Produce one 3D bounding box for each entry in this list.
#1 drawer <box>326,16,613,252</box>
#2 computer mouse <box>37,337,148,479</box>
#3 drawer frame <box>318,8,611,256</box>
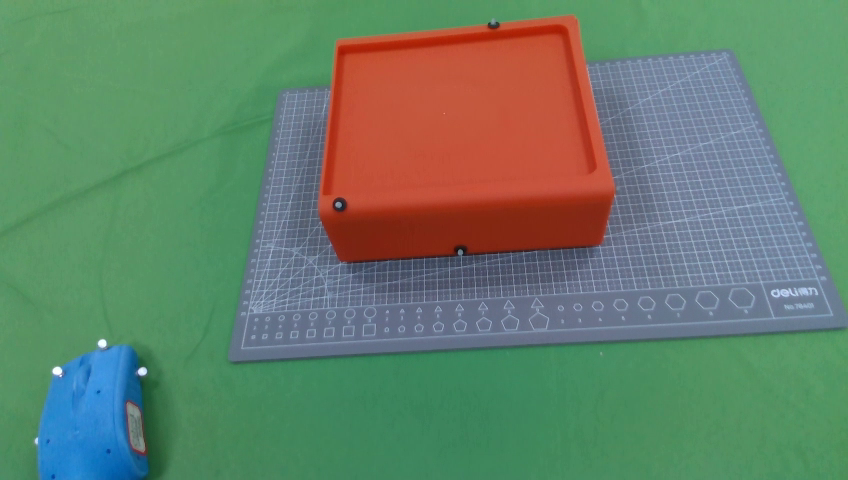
[{"bbox_3d":[0.035,-0.091,0.508,0.211,0.074,0.192,-4,57,5],"label":"drawer"},{"bbox_3d":[-0.235,0.122,0.430,0.063,0.041,0.116,-21,52,-4],"label":"computer mouse"},{"bbox_3d":[0.032,-0.092,0.508,0.213,0.083,0.199,-5,57,5],"label":"drawer frame"}]
